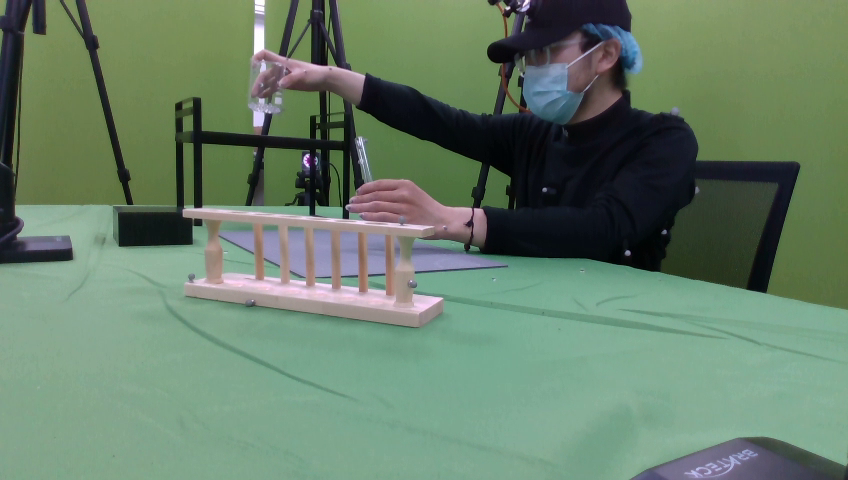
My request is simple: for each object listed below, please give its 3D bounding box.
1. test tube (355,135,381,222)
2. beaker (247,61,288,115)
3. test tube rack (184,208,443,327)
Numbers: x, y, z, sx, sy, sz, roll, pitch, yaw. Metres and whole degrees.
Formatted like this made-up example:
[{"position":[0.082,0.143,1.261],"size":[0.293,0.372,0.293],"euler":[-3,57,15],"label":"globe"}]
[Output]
[{"position":[-0.091,-0.100,0.982],"size":[0.017,0.150,0.017],"euler":[-13,-13,-3],"label":"test tube"},{"position":[-0.320,-0.306,1.222],"size":[0.074,0.100,0.084],"euler":[11,14,13],"label":"beaker"},{"position":[-0.106,0.019,0.570],"size":[0.241,0.085,0.067],"euler":[5,7,20],"label":"test tube rack"}]
